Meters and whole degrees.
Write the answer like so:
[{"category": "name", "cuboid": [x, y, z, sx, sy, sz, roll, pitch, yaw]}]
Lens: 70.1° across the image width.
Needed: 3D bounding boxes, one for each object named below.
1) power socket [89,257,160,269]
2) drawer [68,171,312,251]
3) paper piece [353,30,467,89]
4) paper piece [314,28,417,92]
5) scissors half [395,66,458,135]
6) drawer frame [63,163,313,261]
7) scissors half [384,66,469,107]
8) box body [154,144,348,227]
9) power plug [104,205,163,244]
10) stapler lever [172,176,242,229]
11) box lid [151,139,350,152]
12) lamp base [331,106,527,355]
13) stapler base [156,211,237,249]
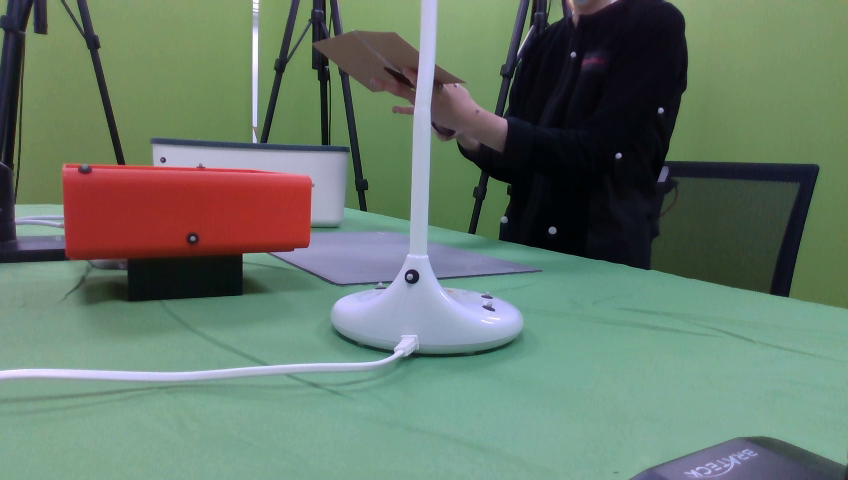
[{"category": "power socket", "cuboid": [-0.409, 0.004, 0.793, 0.072, 0.032, 0.225, -2, 8, -38]}, {"category": "drawer", "cuboid": [-0.247, -0.036, 0.629, 0.213, 0.073, 0.193, -3, 9, -30]}, {"category": "paper piece", "cuboid": [-0.022, -0.258, 0.867, 0.139, 0.008, 0.135, 30, 1, -34]}, {"category": "paper piece", "cuboid": [-0.095, -0.283, 0.974, 0.136, 0.004, 0.134, 33, -14, -34]}, {"category": "scissors half", "cuboid": [-0.002, -0.230, 0.971, 0.012, 0.040, 0.176, 12, -27, 52]}, {"category": "drawer frame", "cuboid": [-0.248, -0.036, 0.626, 0.215, 0.082, 0.200, -3, 9, -31]}, {"category": "scissors half", "cuboid": [0.006, -0.252, 0.975, 0.176, 0.040, 0.013, 7, -1, -39]}, {"category": "box body", "cuboid": [-0.357, -0.119, 1.264, 0.365, 0.160, 0.253, 0, 7, -18]}, {"category": "power plug", "cuboid": [-0.390, -0.021, 0.816, 0.073, 0.052, 0.035, -1, 8, -28]}, {"category": "stapler lever", "cuboid": [-0.218, -0.041, 0.618, 0.027, 0.040, 0.118, 18, 11, -2]}, {"category": "box lid", "cuboid": [-0.352, -0.191, 1.256, 0.373, 0.015, 0.262, 0, 8, -18]}, {"category": "lamp base", "cuboid": [0.006, -0.012, 0.478, 0.161, 0.180, 0.179, 2, 10, 2]}, {"category": "stapler base", "cuboid": [-0.227, -0.017, 0.624, 0.041, 0.024, 0.130, 18, 10, -2]}]
